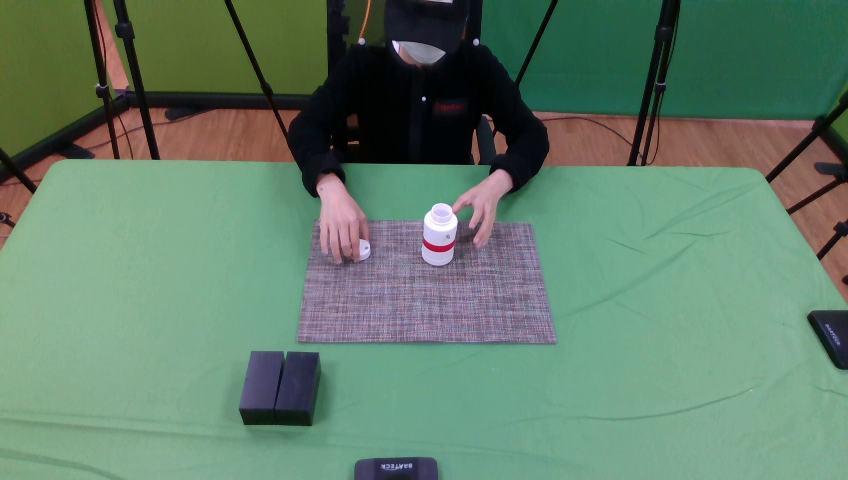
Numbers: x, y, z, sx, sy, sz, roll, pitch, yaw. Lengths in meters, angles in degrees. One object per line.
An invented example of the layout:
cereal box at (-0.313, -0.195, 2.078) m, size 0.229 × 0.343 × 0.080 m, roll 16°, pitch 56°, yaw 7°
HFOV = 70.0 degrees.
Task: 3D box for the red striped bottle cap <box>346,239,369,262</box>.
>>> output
red striped bottle cap at (-0.128, 0.019, 1.166) m, size 0.044 × 0.018 × 0.044 m, roll 3°, pitch 49°, yaw -3°

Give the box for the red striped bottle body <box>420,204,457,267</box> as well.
red striped bottle body at (0.027, -0.011, 1.138) m, size 0.063 × 0.120 × 0.062 m, roll 3°, pitch 45°, yaw -3°
